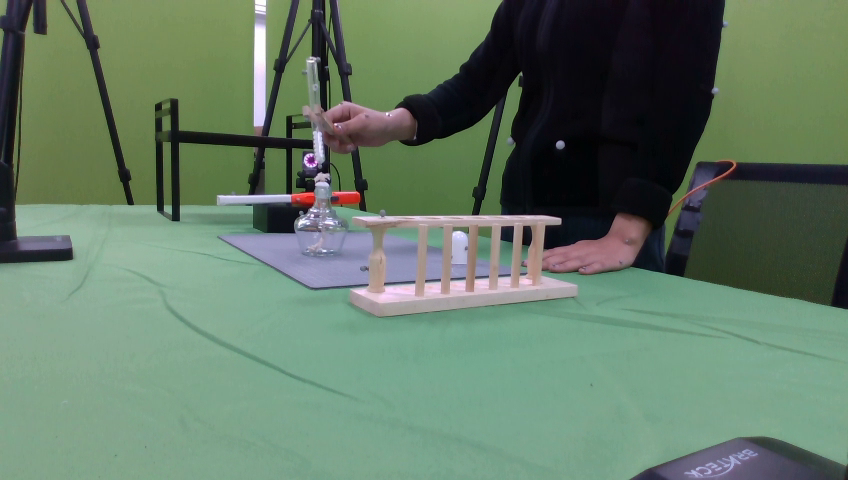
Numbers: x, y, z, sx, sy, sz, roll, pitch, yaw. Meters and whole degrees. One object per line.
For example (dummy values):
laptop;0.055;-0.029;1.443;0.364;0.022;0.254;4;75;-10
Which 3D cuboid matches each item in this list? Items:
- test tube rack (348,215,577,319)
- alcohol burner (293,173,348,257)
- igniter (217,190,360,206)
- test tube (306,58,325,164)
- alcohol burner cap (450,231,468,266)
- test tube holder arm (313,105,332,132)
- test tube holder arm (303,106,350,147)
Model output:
test tube rack;0.048;0.021;0.619;0.244;0.085;0.066;-2;9;-31
alcohol burner;-0.146;-0.036;0.859;0.078;0.119;0.078;4;8;0
igniter;-0.247;-0.080;1.150;0.278;0.025;0.057;-5;8;-29
test tube;-0.153;-0.182;0.851;0.017;0.150;0.017;-5;-3;0
alcohol burner cap;0.046;0.012;0.839;0.034;0.048;0.034;3;5;0
test tube holder arm;-0.146;-0.174;0.872;0.010;0.015;0.088;-3;-6;3
test tube holder arm;-0.145;-0.169;0.917;0.013;0.015;0.179;-3;-6;10
